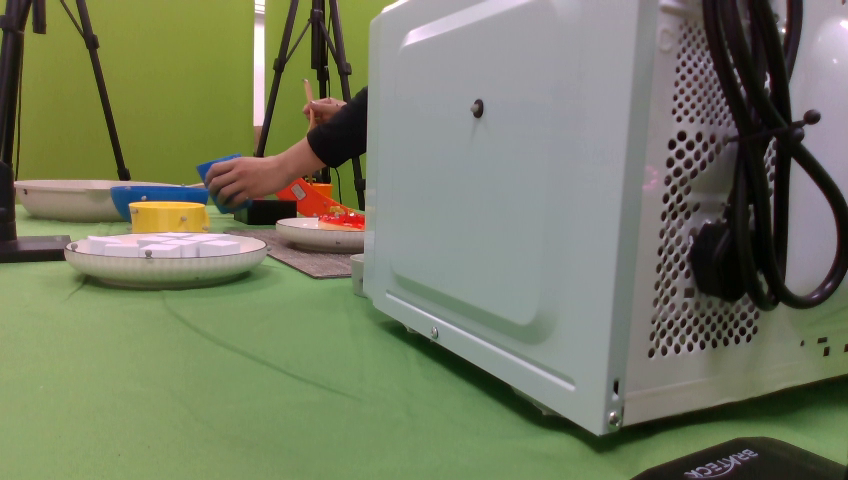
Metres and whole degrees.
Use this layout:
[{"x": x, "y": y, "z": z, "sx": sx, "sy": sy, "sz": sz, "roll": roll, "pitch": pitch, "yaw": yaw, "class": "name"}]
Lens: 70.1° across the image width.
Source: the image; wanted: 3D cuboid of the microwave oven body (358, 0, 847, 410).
[{"x": 0.210, "y": -0.051, "z": 0.471, "sx": 0.444, "sy": 0.260, "sz": 0.324, "roll": -1, "pitch": 7, "yaw": -28, "class": "microwave oven body"}]

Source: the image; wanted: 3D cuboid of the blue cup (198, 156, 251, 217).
[{"x": -0.373, "y": -0.099, "z": 1.150, "sx": 0.092, "sy": 0.100, "sz": 0.092, "roll": -12, "pitch": 7, "yaw": 2, "class": "blue cup"}]

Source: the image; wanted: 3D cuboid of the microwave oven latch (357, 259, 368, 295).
[{"x": -0.019, "y": 0.031, "z": 0.529, "sx": 0.079, "sy": 0.029, "sz": 0.030, "roll": -1, "pitch": 7, "yaw": -26, "class": "microwave oven latch"}]

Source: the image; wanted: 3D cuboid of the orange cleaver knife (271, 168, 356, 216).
[{"x": -0.237, "y": -0.084, "z": 1.332, "sx": 0.212, "sy": 0.077, "sz": 0.012, "roll": 31, "pitch": -9, "yaw": -31, "class": "orange cleaver knife"}]

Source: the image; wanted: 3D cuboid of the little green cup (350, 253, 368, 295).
[{"x": -0.048, "y": 0.035, "z": 0.632, "sx": 0.061, "sy": 0.038, "sz": 0.061, "roll": 3, "pitch": 6, "yaw": 0, "class": "little green cup"}]

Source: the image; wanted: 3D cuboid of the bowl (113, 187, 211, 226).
[{"x": -0.436, "y": -0.046, "z": 1.013, "sx": 0.151, "sy": 0.077, "sz": 0.151, "roll": 2, "pitch": 7, "yaw": 0, "class": "bowl"}]

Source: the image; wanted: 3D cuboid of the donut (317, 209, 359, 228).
[{"x": -0.118, "y": -0.023, "z": 0.954, "sx": 0.099, "sy": 0.048, "sz": 0.099, "roll": 5, "pitch": 6, "yaw": 0, "class": "donut"}]

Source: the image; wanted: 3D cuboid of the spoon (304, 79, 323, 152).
[{"x": -0.237, "y": -0.264, "z": 1.276, "sx": 0.042, "sy": 0.193, "sz": 0.021, "roll": 11, "pitch": -30, "yaw": -38, "class": "spoon"}]

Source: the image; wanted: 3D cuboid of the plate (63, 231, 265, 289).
[{"x": -0.288, "y": 0.021, "z": 0.687, "sx": 0.208, "sy": 0.039, "sz": 0.207, "roll": 2, "pitch": 8, "yaw": 0, "class": "plate"}]

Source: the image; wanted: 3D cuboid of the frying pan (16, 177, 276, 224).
[{"x": -0.554, "y": -0.097, "z": 1.266, "sx": 0.490, "sy": 0.102, "sz": 0.305, "roll": -10, "pitch": 13, "yaw": -24, "class": "frying pan"}]

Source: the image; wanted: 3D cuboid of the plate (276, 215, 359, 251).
[{"x": -0.126, "y": -0.012, "z": 0.950, "sx": 0.209, "sy": 0.038, "sz": 0.209, "roll": 2, "pitch": 7, "yaw": 0, "class": "plate"}]

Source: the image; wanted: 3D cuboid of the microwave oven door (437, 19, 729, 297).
[{"x": 0.180, "y": -0.076, "z": 0.618, "sx": 0.358, "sy": 0.243, "sz": 0.039, "roll": -2, "pitch": 8, "yaw": -28, "class": "microwave oven door"}]

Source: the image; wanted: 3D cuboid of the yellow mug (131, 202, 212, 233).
[{"x": -0.356, "y": -0.020, "z": 0.878, "sx": 0.099, "sy": 0.064, "sz": 0.131, "roll": 5, "pitch": 7, "yaw": 21, "class": "yellow mug"}]

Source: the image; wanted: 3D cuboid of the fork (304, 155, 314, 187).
[{"x": -0.269, "y": -0.134, "z": 1.446, "sx": 0.028, "sy": 0.018, "sz": 0.207, "roll": 4, "pitch": -36, "yaw": 0, "class": "fork"}]
